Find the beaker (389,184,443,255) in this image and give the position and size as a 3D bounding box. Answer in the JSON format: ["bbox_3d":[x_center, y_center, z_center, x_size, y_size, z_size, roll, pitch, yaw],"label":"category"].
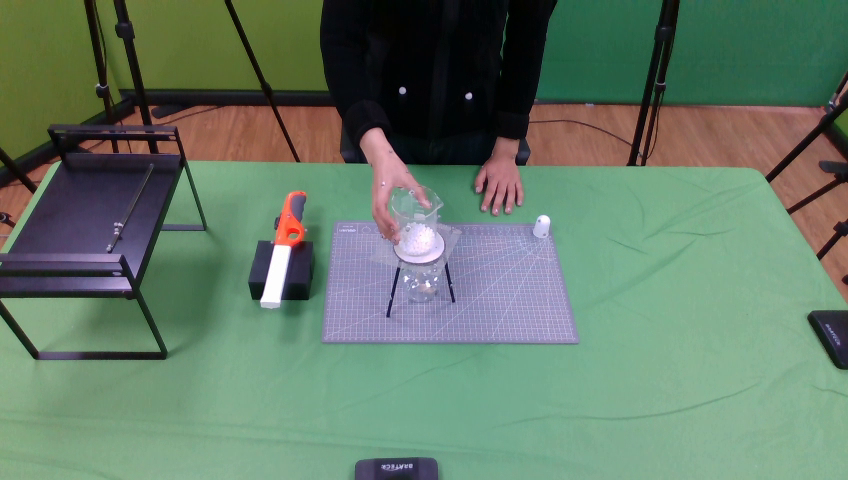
[{"bbox_3d":[-0.013,-0.029,0.980,0.084,0.101,0.073,-1,51,-1],"label":"beaker"}]

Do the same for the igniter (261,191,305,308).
[{"bbox_3d":[-0.255,0.007,1.103,0.057,0.025,0.275,5,47,-4],"label":"igniter"}]

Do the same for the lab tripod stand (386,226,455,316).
[{"bbox_3d":[-0.013,0.054,1.064,0.148,0.132,0.147,2,48,-2],"label":"lab tripod stand"}]

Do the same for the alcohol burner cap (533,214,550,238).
[{"bbox_3d":[0.240,-0.031,1.228,0.034,0.048,0.033,1,46,-1],"label":"alcohol burner cap"}]

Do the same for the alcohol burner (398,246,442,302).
[{"bbox_3d":[-0.006,0.055,1.078,0.078,0.119,0.077,3,44,-3],"label":"alcohol burner"}]

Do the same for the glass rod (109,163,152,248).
[{"bbox_3d":[-0.472,-0.061,0.979,0.008,0.008,0.198,2,46,-2],"label":"glass rod"}]

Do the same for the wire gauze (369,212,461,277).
[{"bbox_3d":[-0.012,0.007,1.019,0.121,0.011,0.124,15,48,14],"label":"wire gauze"}]
